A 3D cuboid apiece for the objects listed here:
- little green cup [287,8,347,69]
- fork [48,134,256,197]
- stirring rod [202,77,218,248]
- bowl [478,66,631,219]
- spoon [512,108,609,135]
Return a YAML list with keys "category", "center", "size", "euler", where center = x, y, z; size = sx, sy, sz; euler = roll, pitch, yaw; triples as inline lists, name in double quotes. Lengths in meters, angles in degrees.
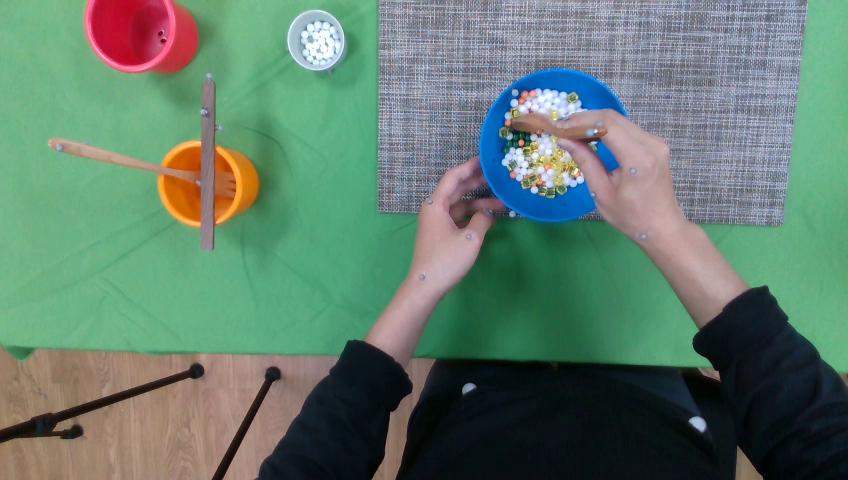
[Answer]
- category: "little green cup"
  center: [-0.113, -0.216, 0.658]
  size: [0.061, 0.038, 0.061]
  euler: [1, 99, 5]
- category: "fork"
  center: [-0.275, -0.077, 0.636]
  size: [0.209, 0.018, 0.028]
  euler: [13, 106, -42]
- category: "stirring rod"
  center: [-0.222, -0.078, 0.630]
  size: [0.014, 0.006, 0.176]
  euler: [3, 100, 5]
- category: "bowl"
  center: [0.131, -0.100, 0.634]
  size: [0.151, 0.076, 0.151]
  euler: [1, 99, 4]
- category: "spoon"
  center: [0.122, -0.104, 0.545]
  size: [0.042, 0.192, 0.022]
  euler: [4, 105, -11]
